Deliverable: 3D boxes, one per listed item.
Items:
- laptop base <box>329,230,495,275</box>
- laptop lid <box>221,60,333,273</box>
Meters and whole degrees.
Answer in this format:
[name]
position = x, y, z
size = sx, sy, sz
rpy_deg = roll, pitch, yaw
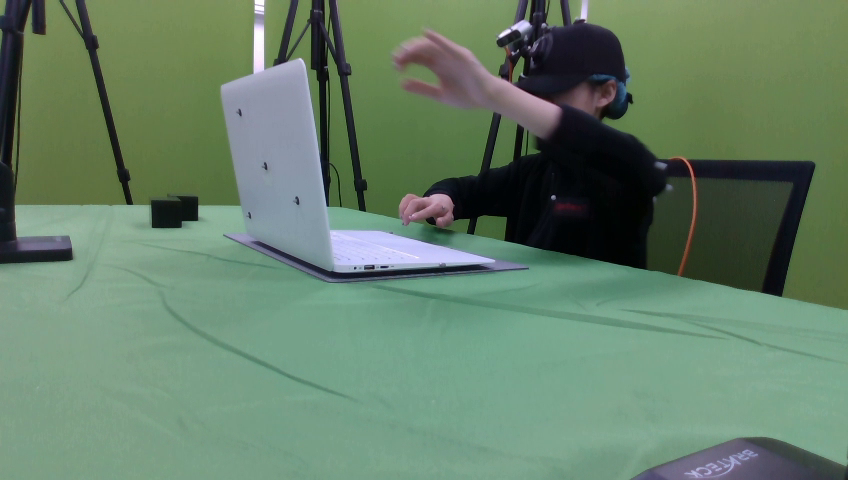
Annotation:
[laptop base]
position = -0.093, 0.015, 0.884
size = 0.237, 0.023, 0.352
rpy_deg = 3, 6, -32
[laptop lid]
position = -0.205, -0.098, 0.795
size = 0.013, 0.241, 0.355
rpy_deg = -13, 16, -30
